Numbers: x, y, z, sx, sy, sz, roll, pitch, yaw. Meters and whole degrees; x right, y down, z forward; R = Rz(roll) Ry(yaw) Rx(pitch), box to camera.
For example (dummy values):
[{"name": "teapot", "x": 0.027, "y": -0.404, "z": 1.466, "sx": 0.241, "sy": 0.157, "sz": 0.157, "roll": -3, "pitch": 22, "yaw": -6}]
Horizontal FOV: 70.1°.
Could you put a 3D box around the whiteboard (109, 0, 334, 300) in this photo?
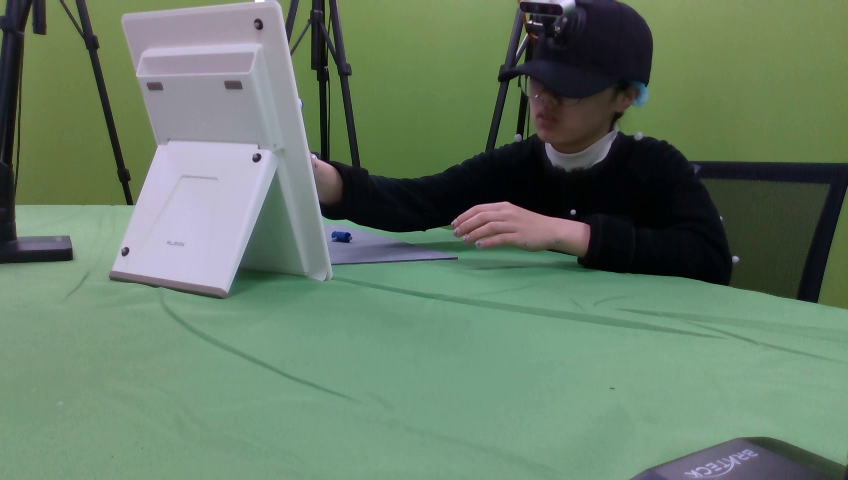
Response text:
[{"name": "whiteboard", "x": -0.247, "y": -0.072, "z": 0.624, "sx": 0.216, "sy": 0.305, "sz": 0.144, "roll": 6, "pitch": 28, "yaw": 26}]

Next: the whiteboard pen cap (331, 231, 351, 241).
[{"name": "whiteboard pen cap", "x": -0.139, "y": -0.007, "z": 1.011, "sx": 0.033, "sy": 0.018, "sz": 0.018, "roll": 3, "pitch": 7, "yaw": 37}]

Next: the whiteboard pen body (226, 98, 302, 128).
[{"name": "whiteboard pen body", "x": -0.191, "y": -0.153, "z": 0.730, "sx": 0.017, "sy": 0.017, "sz": 0.141, "roll": 5, "pitch": 24, "yaw": 23}]
